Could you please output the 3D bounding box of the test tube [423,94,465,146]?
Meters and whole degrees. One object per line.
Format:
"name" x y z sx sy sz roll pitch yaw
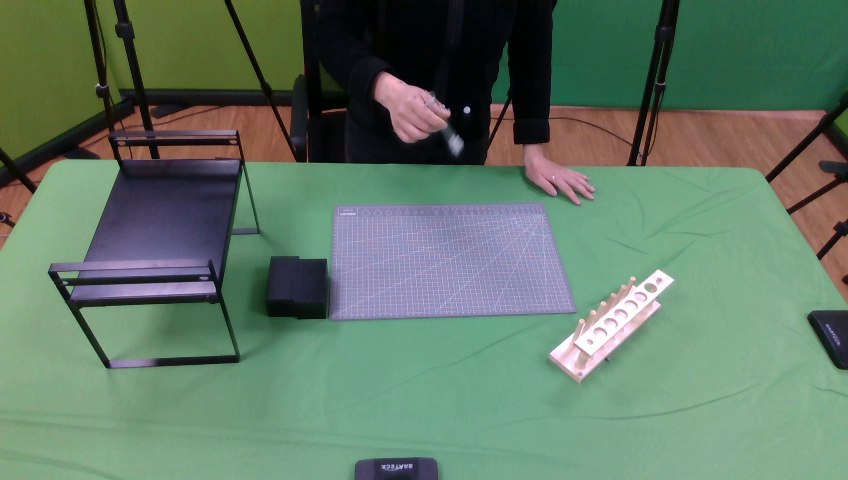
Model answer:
"test tube" 0.036 -0.199 1.020 0.017 0.151 0.017 -10 65 23

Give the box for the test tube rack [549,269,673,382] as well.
"test tube rack" 0.325 0.134 1.048 0.242 0.085 0.066 -32 55 -30
